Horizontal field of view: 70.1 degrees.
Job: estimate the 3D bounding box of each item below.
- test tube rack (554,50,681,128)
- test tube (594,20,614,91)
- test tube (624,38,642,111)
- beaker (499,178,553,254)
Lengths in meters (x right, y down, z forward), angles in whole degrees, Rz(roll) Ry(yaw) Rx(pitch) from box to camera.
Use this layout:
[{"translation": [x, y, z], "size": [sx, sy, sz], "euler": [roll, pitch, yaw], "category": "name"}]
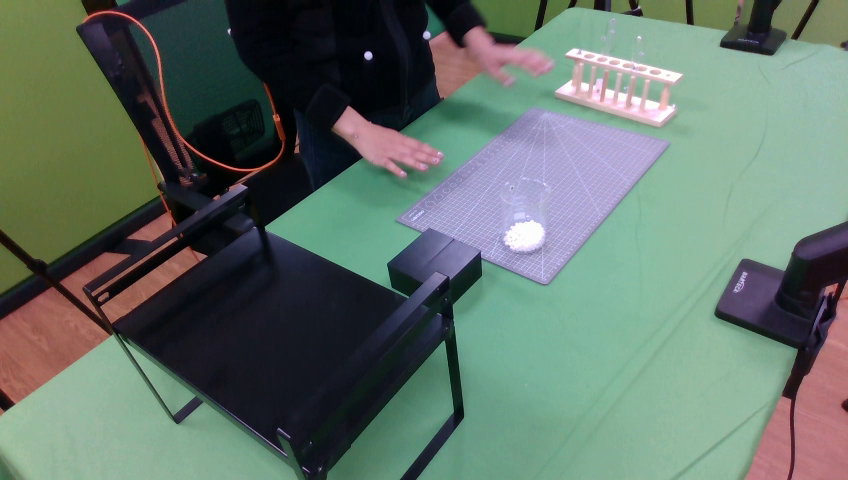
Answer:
[{"translation": [0.387, -0.311, 1.234], "size": [0.240, 0.085, 0.067], "euler": [28, 52, 34], "category": "test tube rack"}, {"translation": [0.367, -0.372, 1.233], "size": [0.017, 0.151, 0.017], "euler": [-1, 43, 1], "category": "test tube"}, {"translation": [0.404, -0.318, 1.171], "size": [0.017, 0.151, 0.017], "euler": [-4, 42, 4], "category": "test tube"}, {"translation": [0.157, -0.036, 0.929], "size": [0.084, 0.100, 0.073], "euler": [-16, 41, -12], "category": "beaker"}]
